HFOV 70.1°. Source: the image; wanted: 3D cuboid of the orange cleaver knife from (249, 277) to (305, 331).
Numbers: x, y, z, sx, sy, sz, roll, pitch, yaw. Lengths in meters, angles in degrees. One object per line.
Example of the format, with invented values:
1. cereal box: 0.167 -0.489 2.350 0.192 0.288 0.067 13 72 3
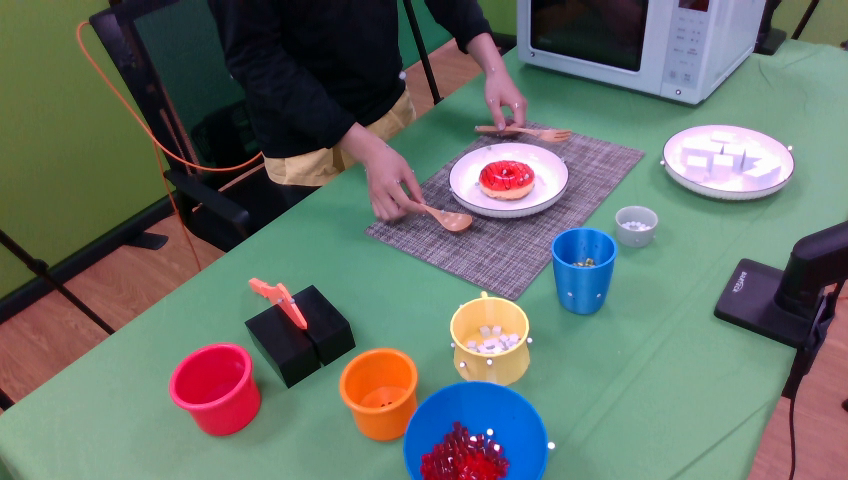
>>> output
1. orange cleaver knife: -0.210 0.088 0.856 0.012 0.077 0.210 -28 15 -25

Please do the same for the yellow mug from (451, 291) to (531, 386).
1. yellow mug: 0.085 0.120 0.786 0.100 0.064 0.130 -7 39 1

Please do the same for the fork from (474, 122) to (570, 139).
1. fork: 0.182 -0.212 1.150 0.206 0.028 0.019 12 39 32

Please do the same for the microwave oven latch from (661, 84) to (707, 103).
1. microwave oven latch: 0.517 -0.296 1.204 0.078 0.029 0.030 26 52 34

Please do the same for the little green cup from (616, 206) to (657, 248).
1. little green cup: 0.327 -0.019 0.935 0.061 0.039 0.061 -4 40 4

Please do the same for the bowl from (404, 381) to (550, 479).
1. bowl: 0.058 0.235 0.645 0.151 0.077 0.150 -4 39 4

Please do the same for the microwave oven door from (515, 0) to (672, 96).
1. microwave oven door: 0.344 -0.455 1.260 0.353 0.245 0.039 26 51 33

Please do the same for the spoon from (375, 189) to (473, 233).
1. spoon: -0.004 -0.054 1.008 0.192 0.022 0.041 25 64 23

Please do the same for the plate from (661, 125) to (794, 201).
1. plate: 0.513 -0.128 1.035 0.207 0.039 0.206 -4 40 4

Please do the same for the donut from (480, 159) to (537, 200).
1. donut: 0.145 -0.106 1.042 0.099 0.048 0.098 -4 38 4

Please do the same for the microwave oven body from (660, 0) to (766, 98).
1. microwave oven body: 0.473 -0.514 1.317 0.438 0.261 0.327 26 51 34

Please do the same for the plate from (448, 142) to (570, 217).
1. plate: 0.148 -0.101 1.053 0.209 0.038 0.208 -4 40 4

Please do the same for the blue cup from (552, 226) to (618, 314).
1. blue cup: 0.218 0.047 0.826 0.092 0.101 0.092 -6 40 5
